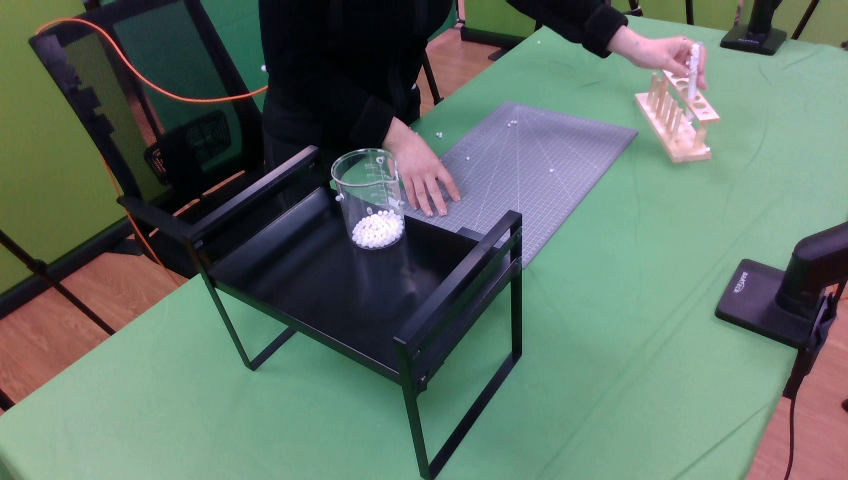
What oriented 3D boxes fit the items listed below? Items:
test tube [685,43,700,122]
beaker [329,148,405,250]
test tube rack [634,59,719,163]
[{"bbox_3d":[0.475,-0.275,1.071,0.017,0.151,0.017,-9,41,8],"label":"test tube"},{"bbox_3d":[-0.059,-0.044,0.699,0.083,0.101,0.074,19,47,27],"label":"beaker"},{"bbox_3d":[0.471,-0.250,1.148,0.067,0.085,0.241,-6,40,3],"label":"test tube rack"}]
